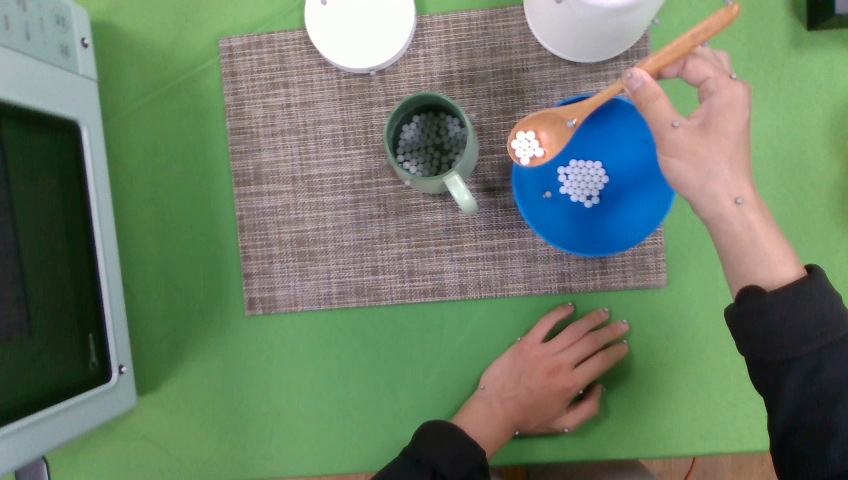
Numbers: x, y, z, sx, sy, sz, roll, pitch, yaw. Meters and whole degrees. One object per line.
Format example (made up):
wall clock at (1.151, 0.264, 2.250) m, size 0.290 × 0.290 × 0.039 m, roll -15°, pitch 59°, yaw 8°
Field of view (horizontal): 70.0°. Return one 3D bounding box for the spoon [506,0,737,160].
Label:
spoon at (0.141, -0.119, 0.458) m, size 0.193 × 0.021 × 0.041 m, roll -31°, pitch 95°, yaw 37°

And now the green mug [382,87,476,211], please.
green mug at (0.014, -0.084, 0.589) m, size 0.092 × 0.105 × 0.125 m, roll -32°, pitch 90°, yaw 4°

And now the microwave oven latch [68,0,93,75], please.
microwave oven latch at (-0.368, -0.212, 0.629) m, size 0.030 × 0.029 × 0.079 m, roll -6°, pitch 93°, yaw 4°

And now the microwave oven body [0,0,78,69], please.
microwave oven body at (-0.503, -0.017, 0.552) m, size 0.326 × 0.260 × 0.442 m, roll -6°, pitch 93°, yaw 4°

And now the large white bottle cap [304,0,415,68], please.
large white bottle cap at (-0.067, -0.238, 0.630) m, size 0.115 × 0.018 × 0.115 m, roll 0°, pitch 92°, yaw 4°

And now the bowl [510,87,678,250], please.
bowl at (0.157, -0.066, 0.592) m, size 0.151 × 0.077 × 0.151 m, roll 0°, pitch 93°, yaw 5°

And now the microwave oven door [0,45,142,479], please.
microwave oven door at (-0.353, 0.009, 0.538) m, size 0.039 × 0.244 × 0.356 m, roll -7°, pitch 92°, yaw 5°

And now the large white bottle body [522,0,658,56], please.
large white bottle body at (0.156, -0.253, 0.530) m, size 0.130 × 0.185 × 0.130 m, roll 0°, pitch 88°, yaw 5°
